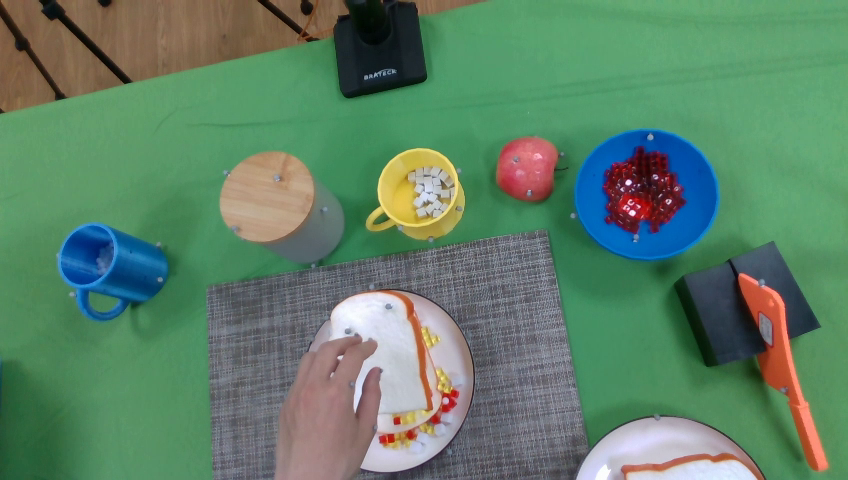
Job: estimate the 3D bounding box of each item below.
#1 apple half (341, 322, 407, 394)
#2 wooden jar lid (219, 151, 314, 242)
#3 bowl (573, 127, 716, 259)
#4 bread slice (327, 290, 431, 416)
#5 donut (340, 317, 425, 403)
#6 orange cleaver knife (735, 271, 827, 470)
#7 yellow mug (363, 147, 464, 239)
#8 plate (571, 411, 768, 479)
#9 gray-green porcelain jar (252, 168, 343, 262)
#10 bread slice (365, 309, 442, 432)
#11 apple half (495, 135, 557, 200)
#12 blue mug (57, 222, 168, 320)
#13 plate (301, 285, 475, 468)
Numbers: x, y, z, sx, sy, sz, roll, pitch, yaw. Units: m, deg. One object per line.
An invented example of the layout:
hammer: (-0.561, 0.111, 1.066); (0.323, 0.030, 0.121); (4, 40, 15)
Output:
apple half: (-0.057, 0.127, 0.658); (0.081, 0.033, 0.081); (-4, 73, 15)
wooden jar lid: (-0.175, -0.047, 0.679); (0.108, 0.021, 0.108); (-2, 74, 8)
bowl: (0.245, -0.044, 0.695); (0.151, 0.077, 0.150); (-2, 76, 10)
bread slice: (-0.054, 0.118, 0.633); (0.104, 0.019, 0.131); (-10, 87, 15)
donut: (-0.048, 0.137, 0.692); (0.099, 0.048, 0.098); (-2, 77, 10)
orange cleaver knife: (0.368, 0.133, 0.629); (0.012, 0.077, 0.211); (-20, 96, -2)
yellow mug: (-0.018, -0.049, 0.750); (0.131, 0.064, 0.099); (-32, 73, 2)
plate: (0.256, 0.286, 0.635); (0.209, 0.038, 0.208); (-3, 76, 11)
gray-green porcelain jar: (-0.162, -0.032, 0.740); (0.105, 0.127, 0.105); (-2, 75, 10)
bread slice: (-0.037, 0.155, 0.715); (0.107, 0.018, 0.133); (-27, 75, 4)
apple half: (0.124, -0.095, 0.742); (0.074, 0.054, 0.080); (12, 80, 15)
blue mug: (-0.400, 0.046, 0.774); (0.082, 0.106, 0.116); (11, 79, 13)
plate: (-0.042, 0.158, 0.715); (0.207, 0.039, 0.206); (-2, 77, 10)
